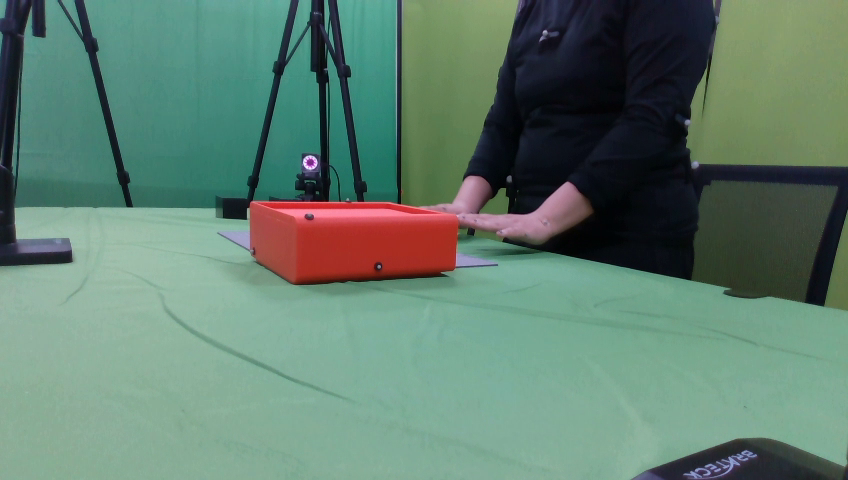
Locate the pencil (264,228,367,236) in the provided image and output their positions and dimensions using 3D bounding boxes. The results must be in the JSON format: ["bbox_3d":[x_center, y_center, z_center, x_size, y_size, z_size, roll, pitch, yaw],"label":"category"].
[{"bbox_3d":[-0.195,-0.013,1.109,0.195,0.012,0.012,1,7,-28],"label":"pencil"}]

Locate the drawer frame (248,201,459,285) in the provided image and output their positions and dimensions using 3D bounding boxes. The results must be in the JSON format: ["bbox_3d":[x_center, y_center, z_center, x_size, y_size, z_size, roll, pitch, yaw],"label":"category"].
[{"bbox_3d":[-0.096,-0.005,0.785,0.215,0.082,0.200,-3,10,-31],"label":"drawer frame"}]

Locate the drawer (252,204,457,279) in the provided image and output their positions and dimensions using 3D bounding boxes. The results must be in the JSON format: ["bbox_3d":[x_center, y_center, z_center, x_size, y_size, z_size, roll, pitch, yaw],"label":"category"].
[{"bbox_3d":[-0.095,-0.004,0.787,0.213,0.073,0.193,-3,10,-30],"label":"drawer"}]
